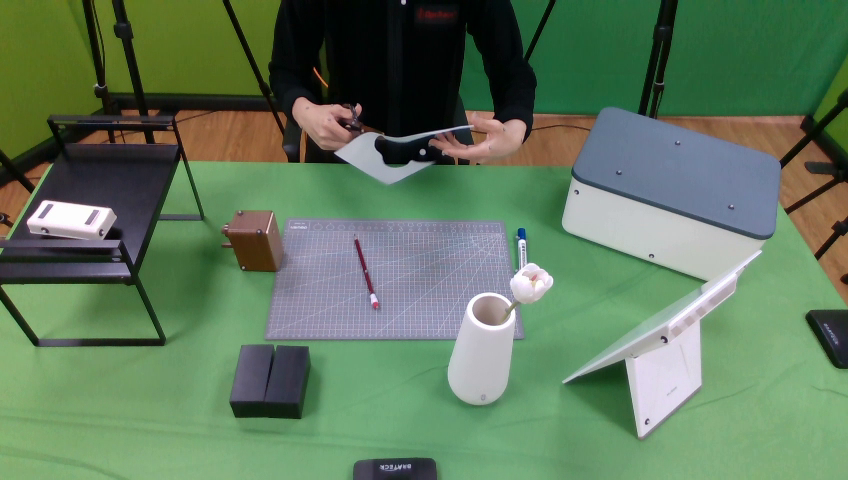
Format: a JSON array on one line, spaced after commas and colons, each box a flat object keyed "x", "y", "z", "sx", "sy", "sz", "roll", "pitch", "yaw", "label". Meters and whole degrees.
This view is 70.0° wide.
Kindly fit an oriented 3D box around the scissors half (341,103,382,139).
[{"x": -0.110, "y": -0.203, "z": 1.049, "sx": 0.013, "sy": 0.040, "sz": 0.174, "roll": -14, "pitch": 33, "yaw": -25, "label": "scissors half"}]

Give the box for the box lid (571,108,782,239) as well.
[{"x": 0.491, "y": -0.139, "z": 1.168, "sx": 0.370, "sy": 0.015, "sz": 0.262, "roll": 21, "pitch": 49, "yaw": 15, "label": "box lid"}]

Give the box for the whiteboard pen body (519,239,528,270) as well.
[{"x": 0.193, "y": 0.035, "z": 1.181, "sx": 0.017, "sy": 0.017, "sz": 0.140, "roll": 6, "pitch": 48, "yaw": 1, "label": "whiteboard pen body"}]

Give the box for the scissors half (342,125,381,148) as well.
[{"x": -0.109, "y": -0.183, "z": 1.055, "sx": 0.013, "sy": 0.040, "sz": 0.174, "roll": -8, "pitch": 8, "yaw": -26, "label": "scissors half"}]

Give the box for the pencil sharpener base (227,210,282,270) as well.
[{"x": -0.311, "y": 0.001, "z": 1.112, "sx": 0.077, "sy": 0.107, "sz": 0.061, "roll": 1, "pitch": 47, "yaw": 1, "label": "pencil sharpener base"}]

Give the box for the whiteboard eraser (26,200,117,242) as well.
[{"x": -0.532, "y": -0.026, "z": 0.919, "sx": 0.113, "sy": 0.042, "sz": 0.055, "roll": 7, "pitch": 45, "yaw": 3, "label": "whiteboard eraser"}]

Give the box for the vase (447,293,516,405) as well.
[{"x": 0.091, "y": 0.169, "z": 0.921, "sx": 0.098, "sy": 0.201, "sz": 0.097, "roll": 3, "pitch": 47, "yaw": -3, "label": "vase"}]

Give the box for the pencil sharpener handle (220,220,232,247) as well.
[{"x": -0.362, "y": -0.009, "z": 1.105, "sx": 0.030, "sy": 0.068, "sz": 0.036, "roll": 1, "pitch": 52, "yaw": 1, "label": "pencil sharpener handle"}]

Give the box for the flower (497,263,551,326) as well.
[{"x": 0.102, "y": 0.121, "z": 0.853, "sx": 0.044, "sy": 0.363, "sz": 0.038, "roll": -2, "pitch": 64, "yaw": -10, "label": "flower"}]

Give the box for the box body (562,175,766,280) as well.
[{"x": 0.486, "y": -0.088, "z": 1.222, "sx": 0.363, "sy": 0.161, "sz": 0.253, "roll": 20, "pitch": 48, "yaw": 15, "label": "box body"}]

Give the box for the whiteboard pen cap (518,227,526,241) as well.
[{"x": 0.197, "y": -0.009, "z": 1.220, "sx": 0.018, "sy": 0.018, "sz": 0.033, "roll": 5, "pitch": 51, "yaw": 1, "label": "whiteboard pen cap"}]

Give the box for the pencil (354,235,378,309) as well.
[{"x": -0.112, "y": 0.055, "z": 1.143, "sx": 0.012, "sy": 0.012, "sz": 0.192, "roll": -10, "pitch": 46, "yaw": -13, "label": "pencil"}]

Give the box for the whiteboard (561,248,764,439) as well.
[{"x": 0.386, "y": 0.176, "z": 0.905, "sx": 0.217, "sy": 0.306, "sz": 0.143, "roll": -26, "pitch": 72, "yaw": -27, "label": "whiteboard"}]
